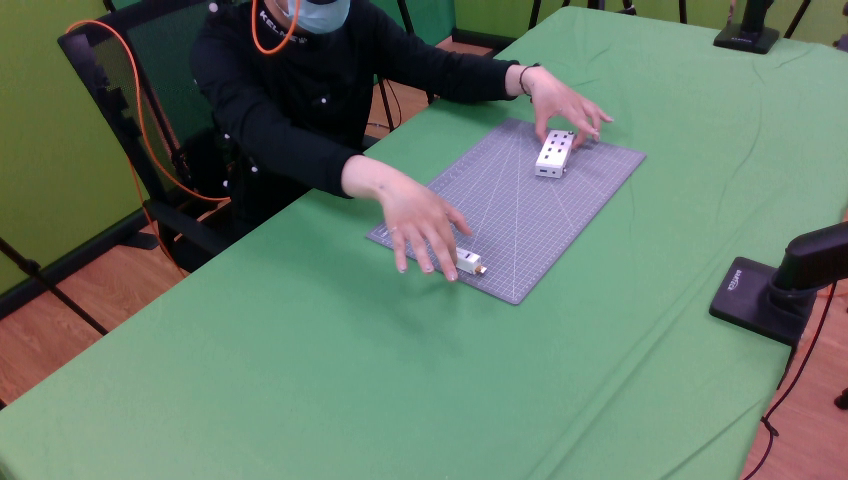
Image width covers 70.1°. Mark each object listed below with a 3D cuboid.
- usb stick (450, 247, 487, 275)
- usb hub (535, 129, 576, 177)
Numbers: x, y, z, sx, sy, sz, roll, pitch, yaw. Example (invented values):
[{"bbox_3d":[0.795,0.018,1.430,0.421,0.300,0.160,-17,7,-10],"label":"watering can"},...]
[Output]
[{"bbox_3d":[0.068,0.034,0.912,0.059,0.027,0.021,24,47,28],"label":"usb stick"},{"bbox_3d":[0.244,-0.161,1.116,0.049,0.025,0.125,10,44,22],"label":"usb hub"}]
